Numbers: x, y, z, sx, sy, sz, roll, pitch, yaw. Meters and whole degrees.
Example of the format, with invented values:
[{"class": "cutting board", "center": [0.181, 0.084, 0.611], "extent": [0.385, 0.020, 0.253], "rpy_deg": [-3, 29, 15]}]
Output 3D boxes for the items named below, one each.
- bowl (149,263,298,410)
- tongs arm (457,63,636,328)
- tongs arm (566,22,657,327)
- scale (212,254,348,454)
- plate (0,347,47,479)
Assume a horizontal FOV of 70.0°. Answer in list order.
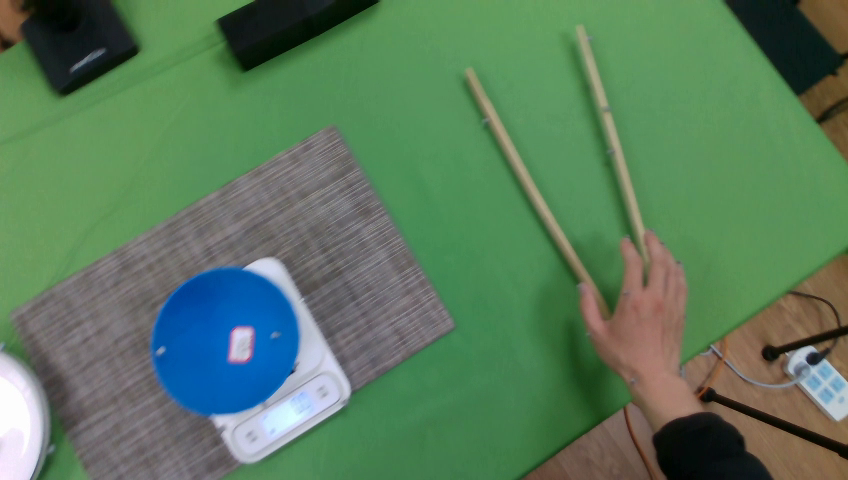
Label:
[{"class": "bowl", "center": [-0.205, 0.104, 0.655], "extent": [0.151, 0.077, 0.151], "rpy_deg": [0, 80, -1]}, {"class": "tongs arm", "center": [0.141, -0.055, 0.743], "extent": [0.028, 0.028, 0.386], "rpy_deg": [-29, 82, -7]}, {"class": "tongs arm", "center": [0.217, -0.085, 0.744], "extent": [0.051, 0.026, 0.383], "rpy_deg": [-17, 82, -2]}, {"class": "scale", "center": [-0.195, 0.131, 0.704], "extent": [0.148, 0.031, 0.200], "rpy_deg": [-31, 82, -5]}, {"class": "plate", "center": [-0.530, 0.216, 0.690], "extent": [0.208, 0.039, 0.207], "rpy_deg": [0, 81, 0]}]
